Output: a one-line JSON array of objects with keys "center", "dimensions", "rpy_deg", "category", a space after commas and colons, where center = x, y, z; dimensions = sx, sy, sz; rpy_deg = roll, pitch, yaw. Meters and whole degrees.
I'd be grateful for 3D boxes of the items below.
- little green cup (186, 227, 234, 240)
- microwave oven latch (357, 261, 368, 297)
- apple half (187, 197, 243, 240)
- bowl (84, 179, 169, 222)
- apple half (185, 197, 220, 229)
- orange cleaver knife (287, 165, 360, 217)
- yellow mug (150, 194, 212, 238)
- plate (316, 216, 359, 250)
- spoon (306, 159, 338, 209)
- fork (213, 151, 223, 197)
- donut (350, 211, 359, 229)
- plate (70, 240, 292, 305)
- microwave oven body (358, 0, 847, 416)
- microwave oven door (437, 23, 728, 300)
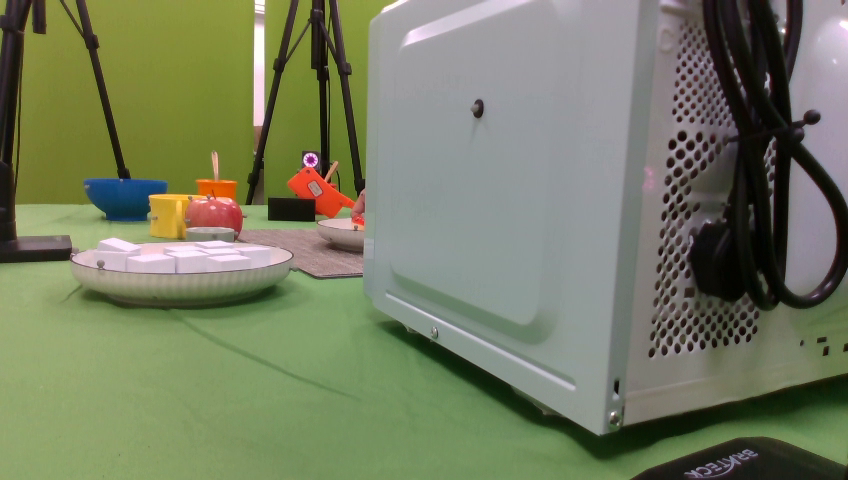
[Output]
[{"center": [-0.284, 0.005, 0.805], "dimensions": [0.061, 0.038, 0.061], "rpy_deg": [2, 8, 0], "category": "little green cup"}, {"center": [-0.019, 0.033, 0.531], "dimensions": [0.079, 0.029, 0.030], "rpy_deg": [-1, 7, -27], "category": "microwave oven latch"}, {"center": [-0.305, -0.026, 0.907], "dimensions": [0.053, 0.074, 0.081], "rpy_deg": [12, 8, 31], "category": "apple half"}, {"center": [-0.584, -0.078, 1.194], "dimensions": [0.151, 0.077, 0.151], "rpy_deg": [3, 8, 0], "category": "bowl"}, {"center": [-0.338, -0.031, 0.927], "dimensions": [0.032, 0.081, 0.081], "rpy_deg": [12, 12, 31], "category": "apple half"}, {"center": [-0.211, -0.093, 1.382], "dimensions": [0.212, 0.077, 0.012], "rpy_deg": [33, 1, -15], "category": "orange cleaver knife"}, {"center": [-0.401, -0.039, 1.003], "dimensions": [0.100, 0.064, 0.130], "rpy_deg": [0, 9, -20], "category": "yellow mug"}, {"center": [-0.068, -0.010, 0.963], "dimensions": [0.209, 0.038, 0.209], "rpy_deg": [3, 7, 0], "category": "plate"}, {"center": [-0.257, -0.147, 1.567], "dimensions": [0.041, 0.022, 0.193], "rpy_deg": [1, 51, 20], "category": "spoon"}, {"center": [-0.494, -0.143, 1.442], "dimensions": [0.028, 0.018, 0.206], "rpy_deg": [-2, 52, -20], "category": "fork"}, {"center": [-0.070, -0.022, 0.964], "dimensions": [0.099, 0.048, 0.099], "rpy_deg": [5, 7, 0], "category": "donut"}, {"center": [-0.242, 0.031, 0.618], "dimensions": [0.208, 0.039, 0.207], "rpy_deg": [2, 8, 0], "category": "plate"}, {"center": [0.211, -0.047, 0.475], "dimensions": [0.444, 0.260, 0.324], "rpy_deg": [-1, 7, -28], "category": "microwave oven body"}, {"center": [0.180, -0.072, 0.621], "dimensions": [0.358, 0.243, 0.039], "rpy_deg": [-2, 9, -29], "category": "microwave oven door"}]
